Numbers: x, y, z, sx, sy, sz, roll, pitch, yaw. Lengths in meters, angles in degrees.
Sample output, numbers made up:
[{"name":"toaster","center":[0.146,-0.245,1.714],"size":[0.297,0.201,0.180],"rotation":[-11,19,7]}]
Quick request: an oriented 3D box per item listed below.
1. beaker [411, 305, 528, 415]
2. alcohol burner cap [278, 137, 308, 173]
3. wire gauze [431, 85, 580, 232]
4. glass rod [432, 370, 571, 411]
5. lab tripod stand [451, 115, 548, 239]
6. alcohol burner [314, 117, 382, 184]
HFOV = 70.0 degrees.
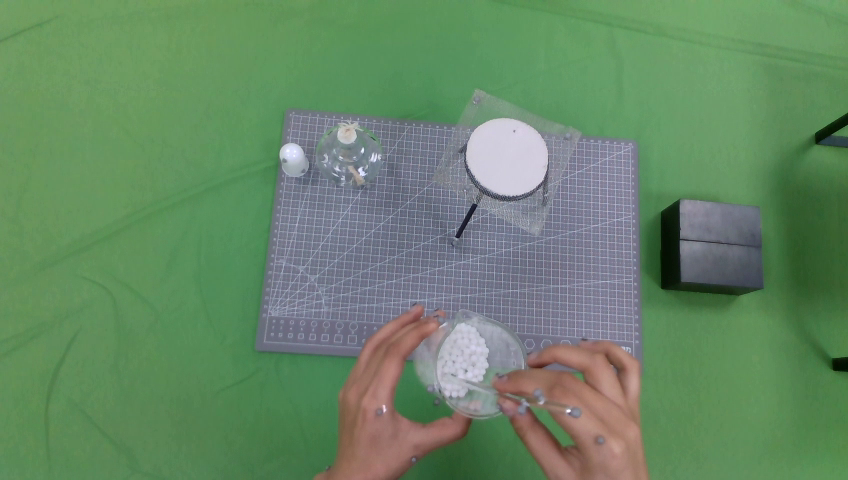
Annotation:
[{"name":"beaker","center":[0.030,0.094,0.496],"size":[0.074,0.100,0.084],"rotation":[-18,86,-14]},{"name":"alcohol burner cap","center":[-0.156,-0.103,0.717],"size":[0.034,0.048,0.033],"rotation":[1,76,-3]},{"name":"wire gauze","center":[0.084,-0.088,0.620],"size":[0.125,0.011,0.121],"rotation":[26,76,1]},{"name":"glass rod","center":[0.046,0.106,0.438],"size":[0.008,0.199,0.008],"rotation":[3,83,-22]},{"name":"lab tripod stand","center":[0.083,-0.073,0.685],"size":[0.148,0.132,0.147],"rotation":[2,75,-5]},{"name":"alcohol burner","center":[-0.086,-0.108,0.689],"size":[0.078,0.119,0.077],"rotation":[2,75,-6]}]
